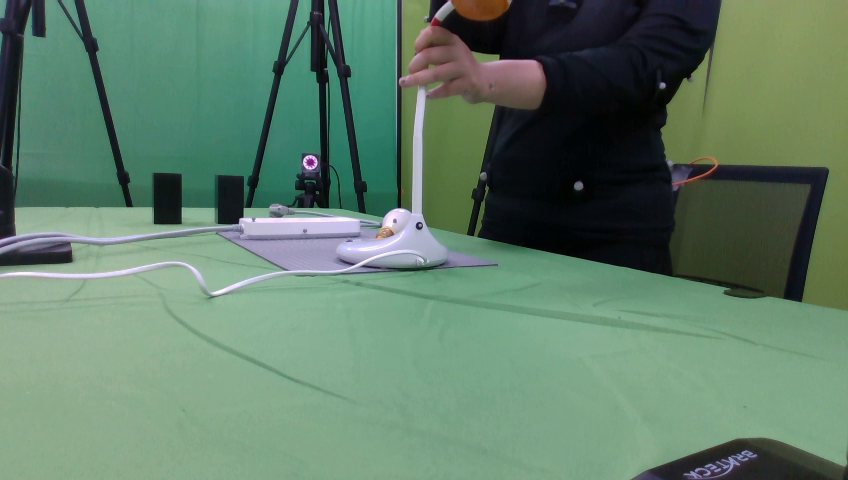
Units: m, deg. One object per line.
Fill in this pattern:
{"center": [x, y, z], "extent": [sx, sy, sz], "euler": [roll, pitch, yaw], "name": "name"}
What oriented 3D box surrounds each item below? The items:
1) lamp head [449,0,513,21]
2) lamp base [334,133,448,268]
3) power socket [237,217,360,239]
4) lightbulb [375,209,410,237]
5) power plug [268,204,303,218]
{"center": [0.065, -0.319, 0.701], "extent": [0.112, 0.122, 0.112], "euler": [7, -1, 0], "name": "lamp head"}
{"center": [-0.034, -0.057, 0.831], "extent": [0.161, 0.180, 0.178], "euler": [-3, 11, -36], "name": "lamp base"}
{"center": [-0.220, -0.023, 1.080], "extent": [0.228, 0.032, 0.072], "euler": [-2, 8, -32], "name": "power socket"}
{"center": [-0.052, -0.016, 1.023], "extent": [0.059, 0.059, 0.108], "euler": [6, 23, 21], "name": "lightbulb"}
{"center": [-0.327, -0.060, 1.404], "extent": [0.073, 0.035, 0.052], "euler": [22, -14, -25], "name": "power plug"}
